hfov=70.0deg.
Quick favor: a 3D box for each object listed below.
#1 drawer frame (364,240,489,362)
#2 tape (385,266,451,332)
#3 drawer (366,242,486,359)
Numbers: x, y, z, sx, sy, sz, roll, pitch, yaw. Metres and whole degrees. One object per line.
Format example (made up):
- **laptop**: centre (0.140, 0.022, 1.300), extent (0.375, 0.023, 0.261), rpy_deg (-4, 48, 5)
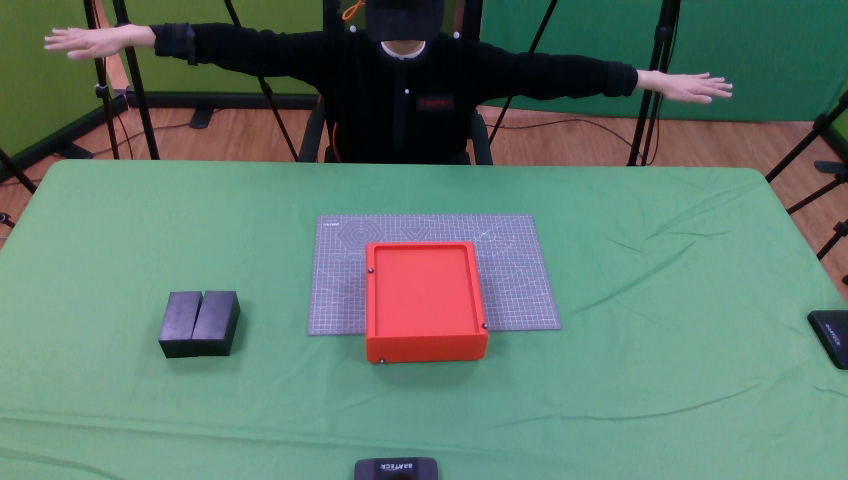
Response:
- **drawer frame**: centre (-0.002, 0.101, 1.054), extent (0.202, 0.083, 0.212), rpy_deg (-1, 47, -5)
- **tape**: centre (-0.010, 0.103, 1.062), extent (0.117, 0.053, 0.116), rpy_deg (2, 46, -2)
- **drawer**: centre (-0.002, 0.101, 1.056), extent (0.195, 0.073, 0.210), rpy_deg (0, 47, -5)
